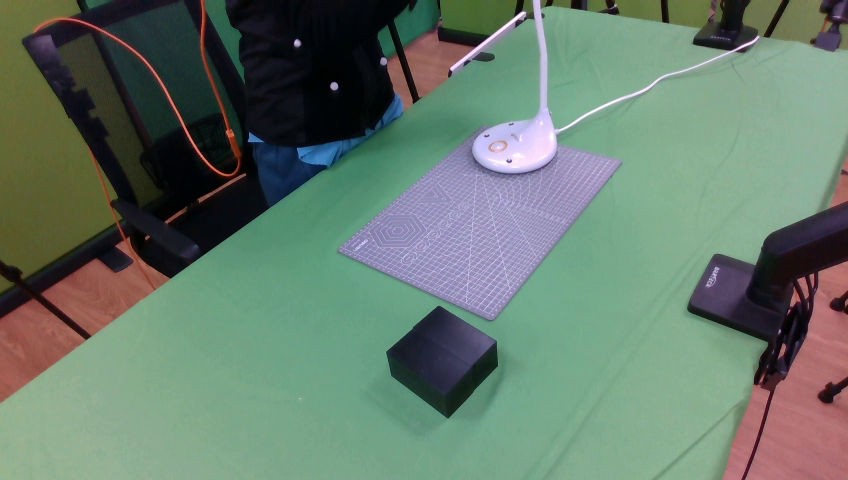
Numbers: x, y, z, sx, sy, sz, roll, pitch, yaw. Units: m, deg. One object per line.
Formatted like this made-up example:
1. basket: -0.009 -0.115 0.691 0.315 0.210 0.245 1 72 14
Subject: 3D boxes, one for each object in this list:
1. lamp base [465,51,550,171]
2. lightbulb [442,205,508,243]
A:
1. lamp base: 0.159 -0.244 1.103 0.180 0.181 0.159 -31 46 -29
2. lightbulb: 0.081 -0.019 0.955 0.107 0.059 0.059 17 44 5
